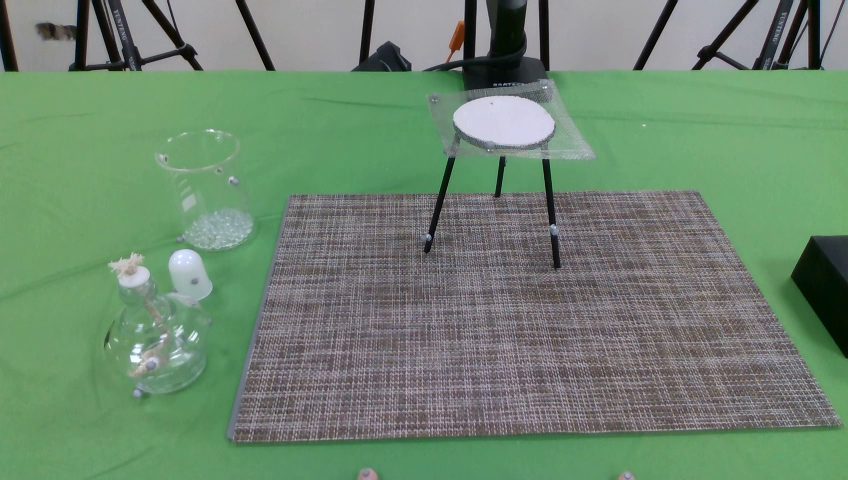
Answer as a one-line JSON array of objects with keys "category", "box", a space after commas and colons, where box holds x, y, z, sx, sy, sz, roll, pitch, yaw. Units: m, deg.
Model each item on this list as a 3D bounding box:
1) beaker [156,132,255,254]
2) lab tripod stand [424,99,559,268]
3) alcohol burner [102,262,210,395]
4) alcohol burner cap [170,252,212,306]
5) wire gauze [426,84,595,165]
[{"category": "beaker", "box": [-0.206, -0.045, 0.587, 0.074, 0.101, 0.083, 9, 40, 9]}, {"category": "lab tripod stand", "box": [0.072, -0.052, 0.567, 0.148, 0.132, 0.147, 2, 40, -1]}, {"category": "alcohol burner", "box": [-0.203, 0.060, 0.451, 0.078, 0.120, 0.077, 2, 41, -1]}, {"category": "alcohol burner cap", "box": [-0.210, 0.032, 0.540, 0.034, 0.048, 0.033, 1, 40, -1]}, {"category": "wire gauze", "box": [0.069, -0.100, 0.520, 0.125, 0.011, 0.120, -3, 41, -6]}]
